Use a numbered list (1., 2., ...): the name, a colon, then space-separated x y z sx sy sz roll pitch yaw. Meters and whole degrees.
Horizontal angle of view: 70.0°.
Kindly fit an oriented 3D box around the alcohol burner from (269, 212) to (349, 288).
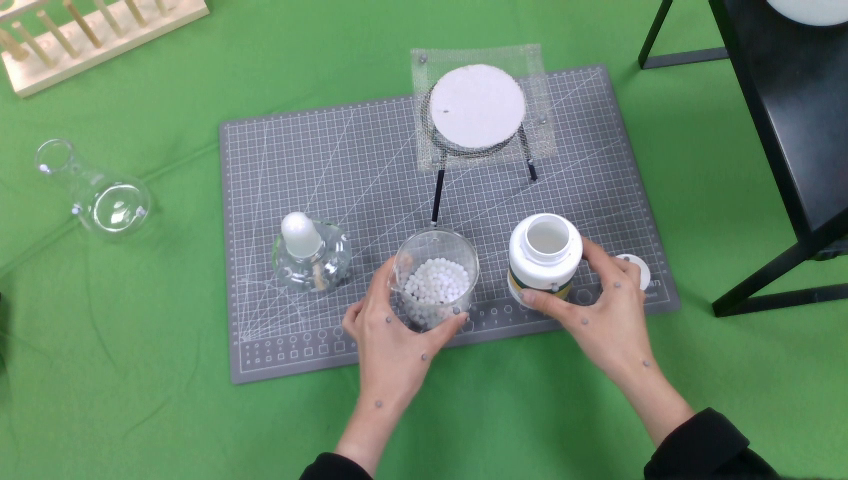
1. alcohol burner: -0.113 0.003 0.578 0.078 0.120 0.077 0 68 0

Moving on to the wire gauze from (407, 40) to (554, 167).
1. wire gauze: 0.049 -0.126 0.538 0.121 0.011 0.124 -4 70 -1

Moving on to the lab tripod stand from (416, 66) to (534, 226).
1. lab tripod stand: 0.044 -0.097 0.599 0.148 0.132 0.147 0 68 1

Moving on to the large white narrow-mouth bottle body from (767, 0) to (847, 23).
1. large white narrow-mouth bottle body: 0.327 -0.257 0.429 0.102 0.196 0.101 0 68 1

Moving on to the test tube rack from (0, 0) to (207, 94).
1. test tube rack: -0.391 -0.270 0.704 0.242 0.086 0.066 -28 72 -9

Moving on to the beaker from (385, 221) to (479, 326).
1. beaker: 0.008 0.038 0.566 0.084 0.101 0.073 -19 69 -6

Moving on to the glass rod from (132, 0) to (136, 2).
1. glass rod: -0.352 -0.333 0.655 0.008 0.201 0.008 1 67 -2

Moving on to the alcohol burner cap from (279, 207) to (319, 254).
1. alcohol burner cap: -0.115 -0.011 0.545 0.034 0.048 0.033 0 63 0

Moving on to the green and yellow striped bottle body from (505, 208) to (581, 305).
1. green and yellow striped bottle body: 0.106 0.014 0.552 0.063 0.120 0.062 -2 68 6

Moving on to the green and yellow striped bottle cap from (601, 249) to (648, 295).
1. green and yellow striped bottle cap: 0.202 0.031 0.611 0.045 0.020 0.045 -1 70 4

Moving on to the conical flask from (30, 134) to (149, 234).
1. conical flask: -0.337 -0.060 0.606 0.075 0.122 0.075 -1 69 2
